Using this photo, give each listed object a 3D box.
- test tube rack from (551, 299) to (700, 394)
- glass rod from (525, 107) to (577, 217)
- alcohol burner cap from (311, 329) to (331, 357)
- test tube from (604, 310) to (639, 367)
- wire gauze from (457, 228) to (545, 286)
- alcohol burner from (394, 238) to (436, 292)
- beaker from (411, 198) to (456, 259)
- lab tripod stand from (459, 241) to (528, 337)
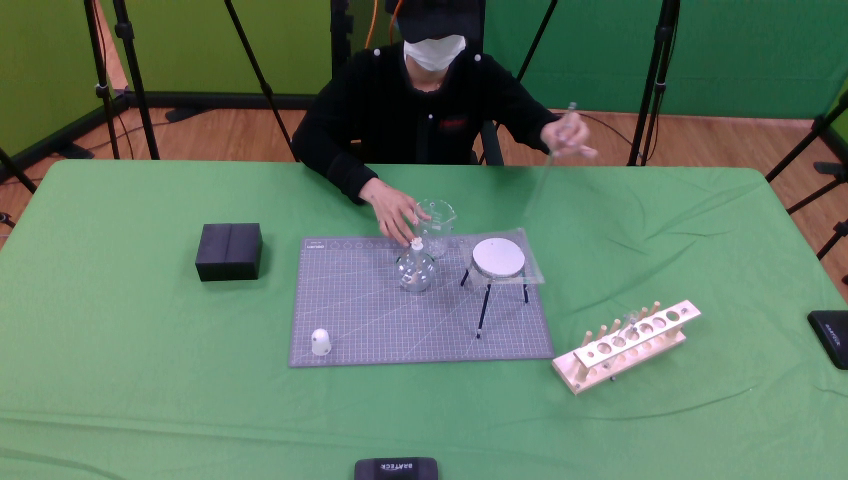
[{"bbox_3d":[0.339,0.166,1.021,0.242,0.085,0.066,-19,50,-21],"label":"test tube rack"},{"bbox_3d":[0.208,-0.125,0.999,0.008,0.200,0.008,17,25,-8],"label":"glass rod"},{"bbox_3d":[-0.173,0.168,1.004,0.034,0.048,0.033,2,46,-2],"label":"alcohol burner cap"},{"bbox_3d":[0.310,0.158,0.957,0.017,0.151,0.017,1,49,-1],"label":"test tube"},{"bbox_3d":[0.126,0.029,1.006,0.125,0.011,0.120,-4,46,-10],"label":"wire gauze"},{"bbox_3d":[-0.016,0.038,1.093,0.078,0.119,0.077,2,48,-2],"label":"alcohol burner"},{"bbox_3d":[0.016,-0.019,1.161,0.084,0.101,0.073,7,46,1],"label":"beaker"},{"bbox_3d":[0.122,0.075,1.054,0.148,0.132,0.147,3,44,-3],"label":"lab tripod stand"}]
